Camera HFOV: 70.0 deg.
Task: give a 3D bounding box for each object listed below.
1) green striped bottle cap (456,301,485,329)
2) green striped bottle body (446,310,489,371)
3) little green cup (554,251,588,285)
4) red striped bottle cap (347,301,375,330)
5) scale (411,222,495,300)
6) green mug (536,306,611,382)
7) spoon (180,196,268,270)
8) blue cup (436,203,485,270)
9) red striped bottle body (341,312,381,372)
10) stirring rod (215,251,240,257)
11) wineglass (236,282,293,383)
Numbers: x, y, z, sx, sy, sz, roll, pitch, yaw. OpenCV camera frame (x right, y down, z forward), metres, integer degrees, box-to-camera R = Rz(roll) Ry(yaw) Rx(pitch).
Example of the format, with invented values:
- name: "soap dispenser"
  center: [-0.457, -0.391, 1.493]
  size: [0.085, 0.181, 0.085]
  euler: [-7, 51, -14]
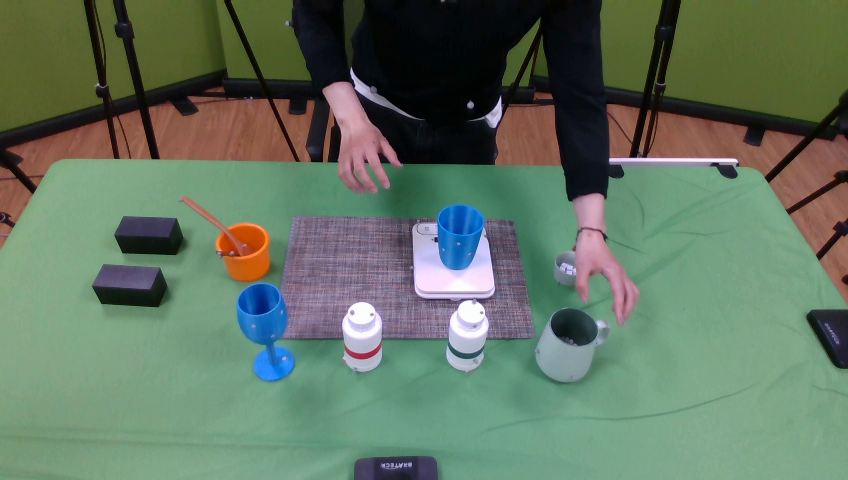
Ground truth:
- name: "green striped bottle cap"
  center: [0.073, 0.116, 0.943]
  size: [0.044, 0.020, 0.044]
  euler: [3, 46, -3]
- name: "green striped bottle body"
  center: [0.070, 0.155, 0.984]
  size: [0.063, 0.120, 0.063]
  euler: [2, 46, -2]
- name: "little green cup"
  center: [0.276, 0.055, 1.151]
  size: [0.061, 0.039, 0.061]
  euler: [2, 45, -1]
- name: "red striped bottle cap"
  center: [-0.097, 0.116, 0.934]
  size: [0.044, 0.018, 0.044]
  euler: [2, 49, -3]
- name: "scale"
  center: [0.052, 0.031, 1.158]
  size: [0.149, 0.032, 0.199]
  euler: [1, 46, -4]
- name: "green mug"
  center: [0.250, 0.167, 0.996]
  size: [0.125, 0.105, 0.092]
  euler: [-15, 49, -18]
- name: "spoon"
  center: [-0.360, -0.014, 1.095]
  size: [0.021, 0.194, 0.041]
  euler: [-27, 26, 32]
- name: "blue cup"
  center: [0.061, -0.001, 1.099]
  size: [0.093, 0.101, 0.092]
  euler: [2, 44, -2]
- name: "red striped bottle body"
  center: [-0.100, 0.154, 0.972]
  size: [0.063, 0.120, 0.062]
  euler: [2, 46, -2]
- name: "stirring rod"
  center: [-0.339, 0.024, 1.059]
  size: [0.014, 0.176, 0.006]
  euler: [16, 86, -6]
- name: "wineglass"
  center: [-0.243, 0.143, 0.934]
  size: [0.074, 0.173, 0.073]
  euler: [2, 46, -2]
